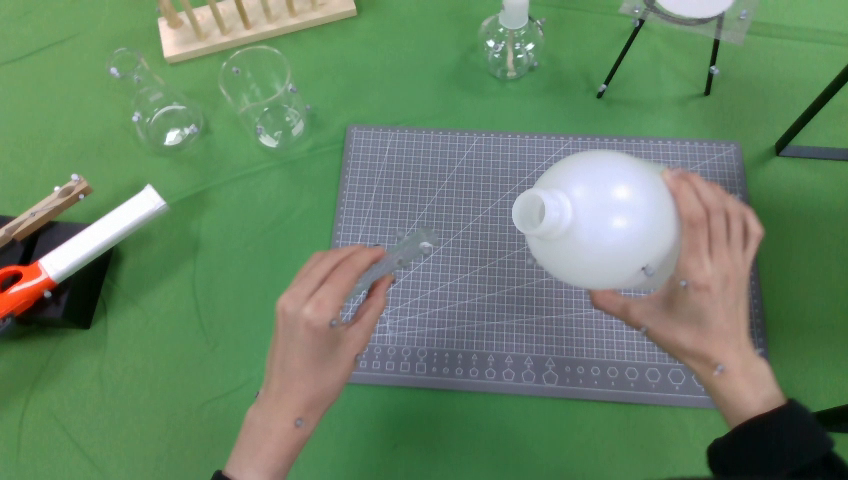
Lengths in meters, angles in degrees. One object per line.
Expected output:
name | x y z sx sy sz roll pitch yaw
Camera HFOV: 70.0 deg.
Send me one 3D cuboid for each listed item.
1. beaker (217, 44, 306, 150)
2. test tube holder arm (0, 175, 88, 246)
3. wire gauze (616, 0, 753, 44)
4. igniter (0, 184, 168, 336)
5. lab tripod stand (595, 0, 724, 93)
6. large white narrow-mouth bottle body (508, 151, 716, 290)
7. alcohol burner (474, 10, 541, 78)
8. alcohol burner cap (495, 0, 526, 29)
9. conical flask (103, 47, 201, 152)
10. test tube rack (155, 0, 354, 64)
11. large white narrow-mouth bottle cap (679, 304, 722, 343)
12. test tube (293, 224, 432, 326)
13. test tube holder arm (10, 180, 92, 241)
beaker | -0.176 -0.150 0.669 0.074 0.101 0.083 17 70 9
test tube holder arm | -0.420 -0.006 0.611 0.178 0.015 0.013 -39 72 -14
wire gauze | 0.271 -0.258 0.607 0.121 0.011 0.124 24 72 9
igniter | -0.378 0.037 0.589 0.276 0.025 0.057 -39 74 -16
lab tripod stand | 0.265 -0.232 0.669 0.148 0.132 0.147 0 67 0
large white narrow-mouth bottle body | 0.133 -0.014 0.447 0.196 0.102 0.101 2 59 -45
alcohol burner | 0.097 -0.242 0.690 0.078 0.120 0.077 0 67 0
alcohol burner cap | 0.095 -0.257 0.656 0.034 0.048 0.033 0 67 1
conical flask | -0.302 -0.157 0.663 0.075 0.123 0.075 -1 68 2
test tube rack | -0.215 -0.297 0.735 0.242 0.086 0.066 -17 69 -5
large white narrow-mouth bottle cap | 0.276 0.084 0.603 0.038 0.024 0.037 -1 70 2
test tube | -0.051 0.030 0.456 0.150 0.017 0.017 -34 64 32
test tube holder arm | -0.383 -0.030 0.620 0.088 0.015 0.010 -38 72 -13
